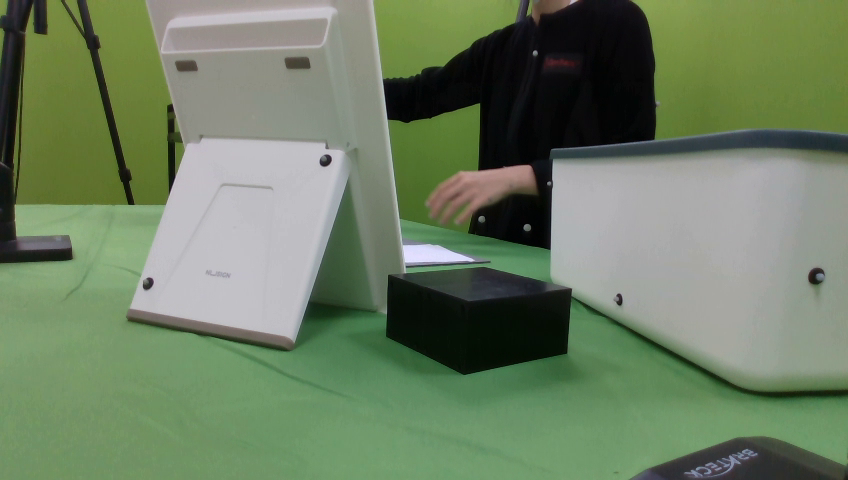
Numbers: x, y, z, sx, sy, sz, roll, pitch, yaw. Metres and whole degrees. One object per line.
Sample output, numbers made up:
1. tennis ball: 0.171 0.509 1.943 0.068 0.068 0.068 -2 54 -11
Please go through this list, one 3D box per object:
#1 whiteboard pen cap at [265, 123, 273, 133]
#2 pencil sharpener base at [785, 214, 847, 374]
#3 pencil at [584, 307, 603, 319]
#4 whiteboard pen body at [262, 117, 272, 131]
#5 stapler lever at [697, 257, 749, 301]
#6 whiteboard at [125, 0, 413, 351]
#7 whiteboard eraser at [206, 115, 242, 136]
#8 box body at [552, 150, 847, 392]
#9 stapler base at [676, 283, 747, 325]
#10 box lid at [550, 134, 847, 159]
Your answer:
1. whiteboard pen cap: -0.340 -0.245 1.321 0.018 0.018 0.033 0 19 -20
2. pencil sharpener base: 0.322 0.038 0.441 0.077 0.107 0.061 1 8 -18
3. pencil: 0.250 0.054 0.656 0.195 0.012 0.012 -14 14 -25
4. whiteboard pen body: -0.356 -0.264 1.375 0.017 0.017 0.140 0 19 -18
5. stapler lever: 0.290 0.035 0.580 0.026 0.040 0.119 28 19 34
6. whiteboard: -0.151 -0.050 0.471 0.216 0.305 0.144 6 27 24
7. whiteboard eraser: -0.438 -0.249 1.320 0.056 0.042 0.112 -3 9 -30
8. box body: 0.290 0.002 0.549 0.255 0.160 0.363 2 7 -10
9. stapler base: 0.283 0.057 0.585 0.041 0.024 0.131 28 17 34
10. box lid: 0.294 -0.071 0.538 0.264 0.015 0.370 2 6 -10
